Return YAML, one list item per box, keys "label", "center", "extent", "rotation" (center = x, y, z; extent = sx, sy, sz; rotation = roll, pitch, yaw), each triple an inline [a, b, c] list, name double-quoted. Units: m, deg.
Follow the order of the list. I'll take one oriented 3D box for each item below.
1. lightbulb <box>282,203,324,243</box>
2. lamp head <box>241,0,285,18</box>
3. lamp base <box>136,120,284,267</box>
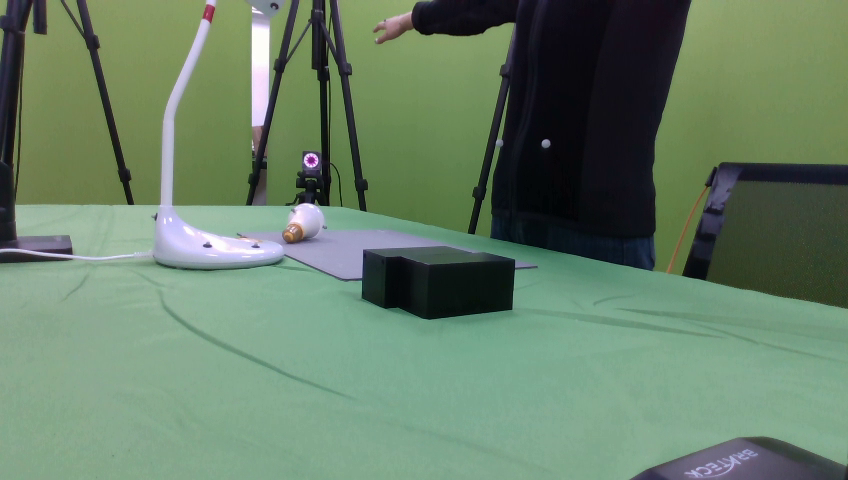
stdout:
- label: "lightbulb"
  center: [-0.202, -0.023, 0.993]
  extent: [0.059, 0.059, 0.108]
  rotation: [3, 23, 12]
- label: "lamp head"
  center: [-0.233, -0.366, 0.790]
  extent: [0.123, 0.112, 0.112]
  rotation: [15, -1, -33]
- label: "lamp base"
  center: [-0.272, -0.061, 0.769]
  extent: [0.180, 0.180, 0.160]
  rotation: [-7, 11, -37]
